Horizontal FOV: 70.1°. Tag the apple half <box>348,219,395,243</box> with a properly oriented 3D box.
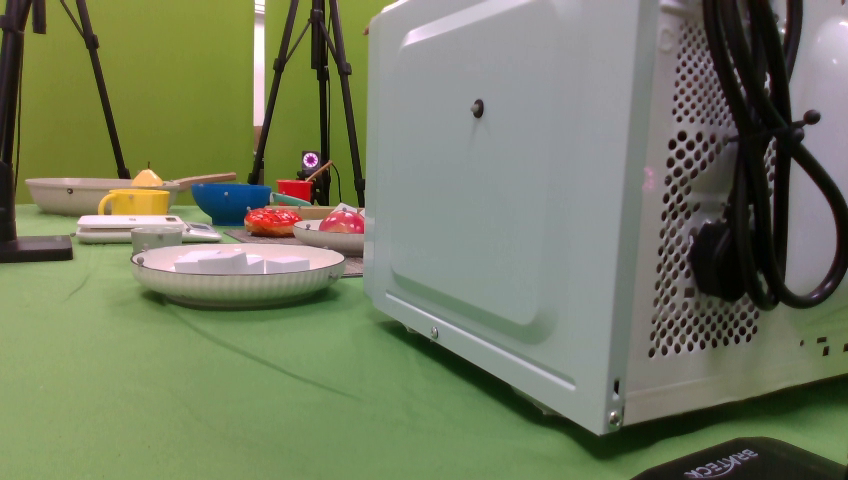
[{"bbox_3d":[-0.083,-0.018,0.967,0.081,0.033,0.081,5,10,-1],"label":"apple half"}]

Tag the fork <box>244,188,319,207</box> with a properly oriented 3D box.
[{"bbox_3d":[-0.356,-0.105,1.526,0.208,0.018,0.028,16,-6,-41],"label":"fork"}]

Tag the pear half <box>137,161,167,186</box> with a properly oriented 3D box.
[{"bbox_3d":[-0.602,-0.120,1.354,0.056,0.110,0.076,4,11,6],"label":"pear half"}]

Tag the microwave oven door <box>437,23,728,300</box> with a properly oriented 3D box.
[{"bbox_3d":[0.180,-0.072,0.621,0.358,0.243,0.039,-2,8,-29],"label":"microwave oven door"}]

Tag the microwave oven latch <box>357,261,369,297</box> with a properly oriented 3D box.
[{"bbox_3d":[-0.019,0.033,0.531,0.079,0.029,0.030,-1,7,-26],"label":"microwave oven latch"}]

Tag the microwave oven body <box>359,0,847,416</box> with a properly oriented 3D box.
[{"bbox_3d":[0.211,-0.047,0.474,0.444,0.260,0.324,-1,7,-28],"label":"microwave oven body"}]

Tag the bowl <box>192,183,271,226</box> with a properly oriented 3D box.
[{"bbox_3d":[-0.382,-0.071,1.202,0.151,0.077,0.151,3,7,0],"label":"bowl"}]

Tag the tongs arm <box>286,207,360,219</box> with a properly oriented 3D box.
[{"bbox_3d":[-0.173,-0.061,1.363,0.387,0.026,0.050,-1,5,-31],"label":"tongs arm"}]

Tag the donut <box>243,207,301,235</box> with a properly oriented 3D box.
[{"bbox_3d":[-0.261,-0.032,1.043,0.099,0.048,0.099,4,9,0],"label":"donut"}]

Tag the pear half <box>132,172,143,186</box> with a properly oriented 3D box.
[{"bbox_3d":[-0.638,-0.113,1.361,0.031,0.088,0.070,5,10,4],"label":"pear half"}]

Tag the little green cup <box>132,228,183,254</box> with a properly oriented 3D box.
[{"bbox_3d":[-0.342,0.006,0.779,0.061,0.038,0.061,2,8,0],"label":"little green cup"}]

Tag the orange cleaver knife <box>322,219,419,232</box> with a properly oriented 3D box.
[{"bbox_3d":[-0.097,-0.027,1.153,0.077,0.012,0.212,1,6,41],"label":"orange cleaver knife"}]

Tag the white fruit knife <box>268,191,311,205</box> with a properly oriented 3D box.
[{"bbox_3d":[-0.364,-0.105,1.463,0.208,0.027,0.016,15,-2,-34],"label":"white fruit knife"}]

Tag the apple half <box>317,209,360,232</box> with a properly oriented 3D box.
[{"bbox_3d":[-0.121,-0.020,0.900,0.080,0.053,0.075,4,11,14],"label":"apple half"}]

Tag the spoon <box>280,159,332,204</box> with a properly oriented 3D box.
[{"bbox_3d":[-0.316,-0.159,1.640,0.194,0.022,0.041,-50,32,-20],"label":"spoon"}]

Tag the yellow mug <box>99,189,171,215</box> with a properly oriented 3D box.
[{"bbox_3d":[-0.518,-0.055,1.080,0.099,0.064,0.131,7,9,26],"label":"yellow mug"}]

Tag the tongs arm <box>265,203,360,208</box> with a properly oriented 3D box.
[{"bbox_3d":[-0.209,-0.070,1.438,0.389,0.027,0.028,1,1,-17],"label":"tongs arm"}]

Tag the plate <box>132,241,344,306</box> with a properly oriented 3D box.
[{"bbox_3d":[-0.187,0.033,0.625,0.208,0.039,0.207,2,7,0],"label":"plate"}]

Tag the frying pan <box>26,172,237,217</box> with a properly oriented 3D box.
[{"bbox_3d":[-0.624,-0.118,1.387,0.305,0.102,0.490,8,17,32],"label":"frying pan"}]

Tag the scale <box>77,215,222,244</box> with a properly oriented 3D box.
[{"bbox_3d":[-0.434,-0.019,0.963,0.202,0.031,0.148,-1,9,-27],"label":"scale"}]

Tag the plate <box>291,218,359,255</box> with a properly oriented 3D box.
[{"bbox_3d":[-0.098,-0.007,0.928,0.209,0.038,0.209,2,8,0],"label":"plate"}]
